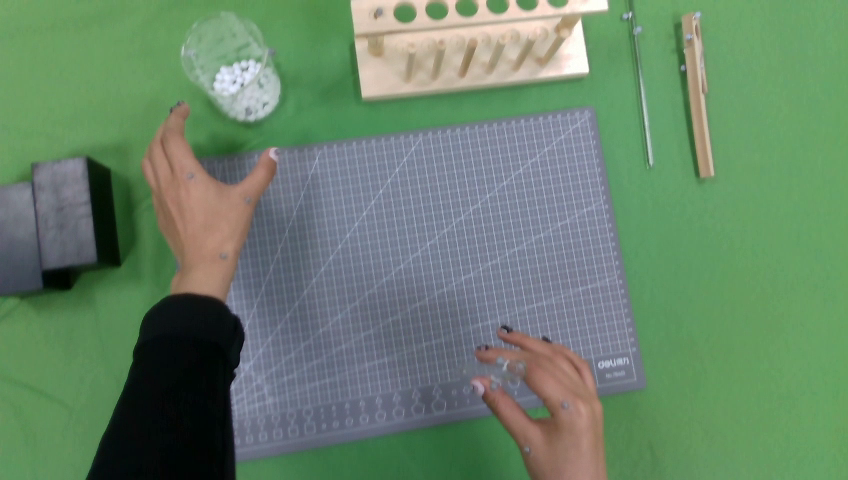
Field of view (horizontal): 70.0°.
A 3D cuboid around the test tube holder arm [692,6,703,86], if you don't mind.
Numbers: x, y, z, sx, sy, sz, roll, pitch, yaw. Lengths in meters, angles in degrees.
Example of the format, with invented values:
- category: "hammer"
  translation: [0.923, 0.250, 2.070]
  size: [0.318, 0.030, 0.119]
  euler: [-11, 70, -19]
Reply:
- category: "test tube holder arm"
  translation: [0.292, -0.210, 0.658]
  size: [0.010, 0.015, 0.087]
  euler: [1, 83, -33]

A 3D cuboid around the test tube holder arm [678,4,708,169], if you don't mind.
- category: "test tube holder arm"
  translation: [0.289, -0.165, 0.651]
  size: [0.013, 0.015, 0.178]
  euler: [1, 84, -33]

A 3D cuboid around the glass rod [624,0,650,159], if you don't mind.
- category: "glass rod"
  translation: [0.229, -0.185, 0.656]
  size: [0.008, 0.008, 0.199]
  euler: [-5, 85, -5]

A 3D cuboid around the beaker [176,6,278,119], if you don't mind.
- category: "beaker"
  translation: [-0.181, -0.161, 0.578]
  size: [0.074, 0.100, 0.084]
  euler: [-6, 85, -4]

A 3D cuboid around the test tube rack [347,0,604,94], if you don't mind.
- category: "test tube rack"
  translation: [0.049, -0.205, 0.607]
  size: [0.242, 0.085, 0.066]
  euler: [-8, 85, -5]

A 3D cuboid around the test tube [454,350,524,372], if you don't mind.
- category: "test tube"
  translation: [0.048, 0.098, 0.487]
  size: [0.017, 0.150, 0.017]
  euler: [2, 78, -11]
